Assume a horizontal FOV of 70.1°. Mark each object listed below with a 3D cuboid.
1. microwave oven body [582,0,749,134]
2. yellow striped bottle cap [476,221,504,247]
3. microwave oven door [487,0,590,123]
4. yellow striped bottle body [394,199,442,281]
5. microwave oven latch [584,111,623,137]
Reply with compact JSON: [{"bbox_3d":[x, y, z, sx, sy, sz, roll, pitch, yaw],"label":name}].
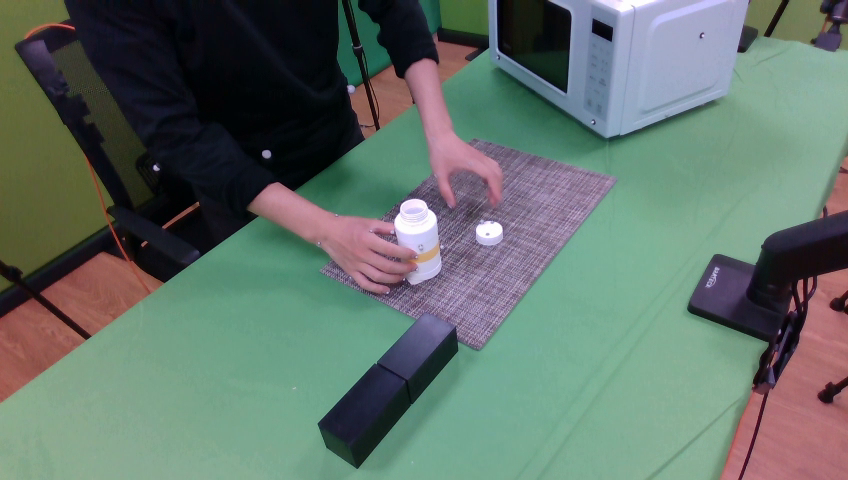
[{"bbox_3d":[0.382,-0.444,1.246,0.327,0.261,0.437,-22,42,-16],"label":"microwave oven body"},{"bbox_3d":[0.106,-0.010,0.966,0.044,0.019,0.044,-5,39,4],"label":"yellow striped bottle cap"},{"bbox_3d":[0.231,-0.420,1.230,0.039,0.245,0.352,-22,43,-16],"label":"microwave oven door"},{"bbox_3d":[-0.009,-0.002,0.891,0.063,0.121,0.062,-4,41,4],"label":"yellow striped bottle body"},{"bbox_3d":[0.337,-0.222,1.142,0.030,0.029,0.078,-21,42,-14],"label":"microwave oven latch"}]
